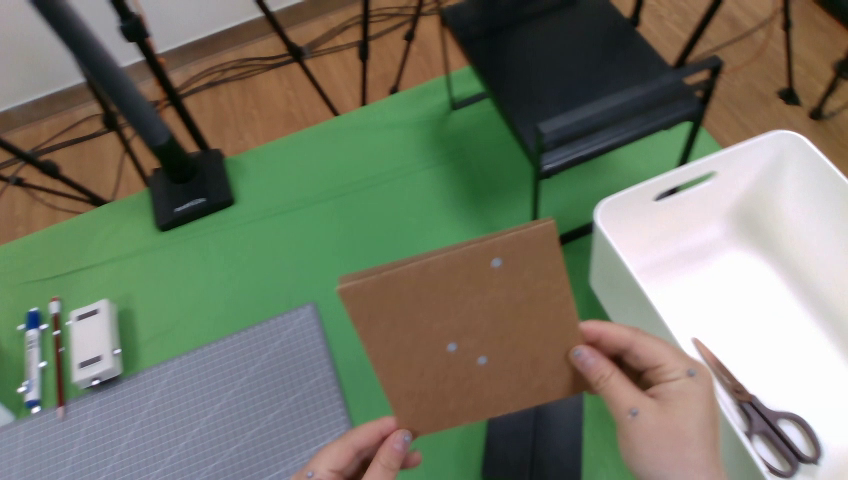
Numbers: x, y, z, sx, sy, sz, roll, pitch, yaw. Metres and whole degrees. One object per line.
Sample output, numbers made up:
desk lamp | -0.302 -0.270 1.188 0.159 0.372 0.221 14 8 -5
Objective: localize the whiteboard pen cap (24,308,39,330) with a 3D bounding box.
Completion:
whiteboard pen cap | -0.551 0.113 0.849 0.018 0.018 0.033 -24 57 -5

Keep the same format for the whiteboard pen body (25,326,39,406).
whiteboard pen body | -0.531 0.159 0.820 0.017 0.017 0.139 -22 58 -4

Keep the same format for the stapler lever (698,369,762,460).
stapler lever | 0.311 0.190 0.631 0.027 0.040 0.117 -26 63 -4

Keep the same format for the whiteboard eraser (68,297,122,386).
whiteboard eraser | -0.436 0.135 0.806 0.055 0.042 0.111 -23 59 -4

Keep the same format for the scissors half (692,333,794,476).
scissors half | 0.344 0.176 0.670 0.040 0.013 0.173 -16 53 -2

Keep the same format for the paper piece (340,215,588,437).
paper piece | 0.034 0.061 0.381 0.135 0.137 0.004 -17 29 3

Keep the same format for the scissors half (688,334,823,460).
scissors half | 0.363 0.168 0.673 0.040 0.013 0.173 -30 56 -19

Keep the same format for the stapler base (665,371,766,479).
stapler base | 0.314 0.200 0.655 0.041 0.024 0.129 -26 63 -4

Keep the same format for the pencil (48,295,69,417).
pencil | -0.495 0.154 0.822 0.012 0.012 0.192 -25 59 -6

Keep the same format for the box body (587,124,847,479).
box body | 0.363 0.088 0.639 0.254 0.162 0.360 -23 58 -5

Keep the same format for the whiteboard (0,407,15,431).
whiteboard | -0.683 0.127 0.729 0.217 0.308 0.142 -22 39 -4

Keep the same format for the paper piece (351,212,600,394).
paper piece | 0.035 0.053 0.397 0.135 0.139 0.008 -10 26 21
